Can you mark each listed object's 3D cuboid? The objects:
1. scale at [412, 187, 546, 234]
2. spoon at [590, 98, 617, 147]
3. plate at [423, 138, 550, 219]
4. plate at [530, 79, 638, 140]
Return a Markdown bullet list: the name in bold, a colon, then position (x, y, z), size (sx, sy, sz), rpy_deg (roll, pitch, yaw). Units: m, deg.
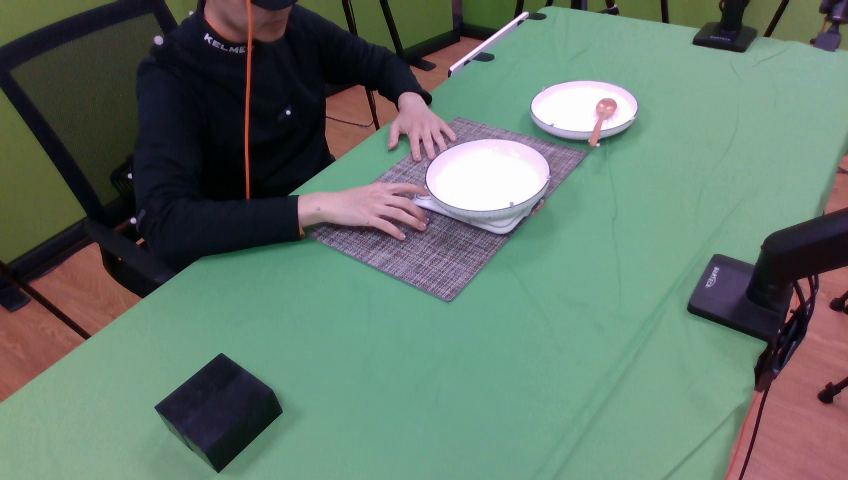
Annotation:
- **scale**: position (0.093, -0.083, 1.039), size (0.199, 0.032, 0.149), rpy_deg (22, 48, 30)
- **spoon**: position (0.334, -0.225, 1.145), size (0.041, 0.022, 0.194), rpy_deg (11, 37, 20)
- **plate**: position (0.104, -0.099, 1.005), size (0.207, 0.039, 0.206), rpy_deg (-4, 41, 4)
- **plate**: position (0.317, -0.257, 1.210), size (0.209, 0.038, 0.208), rpy_deg (-4, 41, 4)
